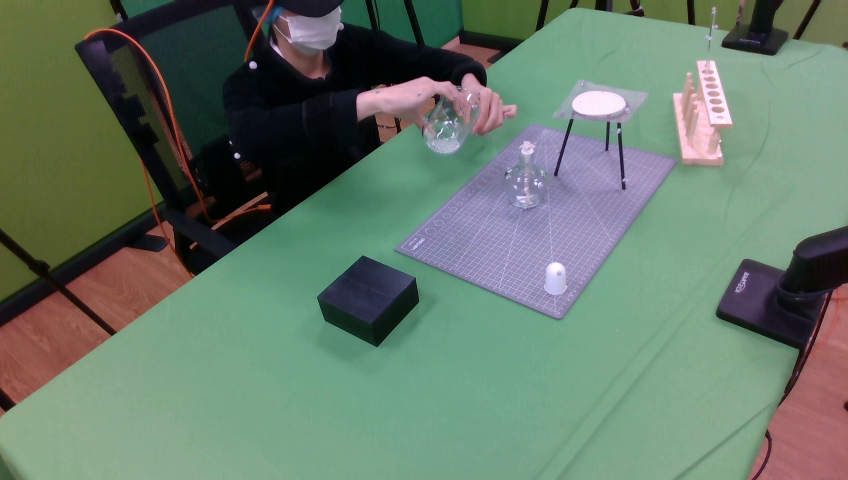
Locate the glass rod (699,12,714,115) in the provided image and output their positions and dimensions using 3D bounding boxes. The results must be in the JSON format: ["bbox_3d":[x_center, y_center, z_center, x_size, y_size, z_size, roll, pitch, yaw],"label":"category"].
[{"bbox_3d":[0.525,-0.323,1.124,0.008,0.201,0.008,-8,38,7],"label":"glass rod"}]

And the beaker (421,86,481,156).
[{"bbox_3d":[0.043,-0.190,0.985,0.073,0.084,0.100,6,45,25],"label":"beaker"}]

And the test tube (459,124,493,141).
[{"bbox_3d":[0.098,-0.196,1.106,0.017,0.017,0.151,12,8,23],"label":"test tube"}]

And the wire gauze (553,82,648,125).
[{"bbox_3d":[0.293,-0.225,1.002,0.120,0.011,0.125,17,45,27],"label":"wire gauze"}]

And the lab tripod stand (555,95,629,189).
[{"bbox_3d":[0.300,-0.174,1.045,0.148,0.132,0.147,-5,38,5],"label":"lab tripod stand"}]

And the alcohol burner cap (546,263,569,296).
[{"bbox_3d":[0.191,0.053,0.862,0.034,0.048,0.033,-5,40,4],"label":"alcohol burner cap"}]

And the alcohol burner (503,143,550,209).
[{"bbox_3d":[0.171,-0.112,1.006,0.078,0.119,0.077,-3,41,3],"label":"alcohol burner"}]

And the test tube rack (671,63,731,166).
[{"bbox_3d":[0.513,-0.241,1.132,0.066,0.085,0.242,4,41,14],"label":"test tube rack"}]
